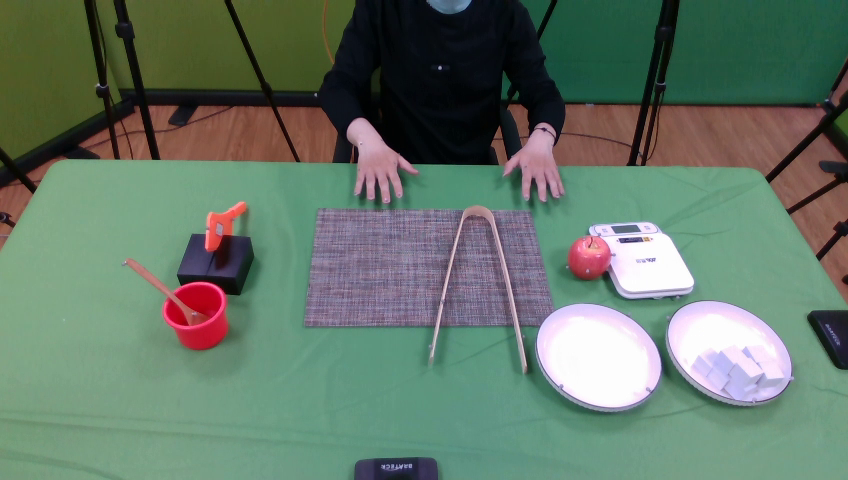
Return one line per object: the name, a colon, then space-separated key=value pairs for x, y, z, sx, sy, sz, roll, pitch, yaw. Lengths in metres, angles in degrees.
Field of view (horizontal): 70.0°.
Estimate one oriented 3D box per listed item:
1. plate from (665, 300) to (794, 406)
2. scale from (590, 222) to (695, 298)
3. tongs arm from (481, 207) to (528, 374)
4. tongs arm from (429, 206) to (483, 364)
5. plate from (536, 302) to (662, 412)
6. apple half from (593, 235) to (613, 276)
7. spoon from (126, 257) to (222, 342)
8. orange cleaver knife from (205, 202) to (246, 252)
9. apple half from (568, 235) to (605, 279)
plate: x=0.513 y=0.194 z=1.034 sx=0.208 sy=0.039 sz=0.206 roll=2 pitch=46 yaw=-2
scale: x=0.424 y=0.031 z=1.189 sx=0.149 sy=0.032 sz=0.199 roll=-3 pitch=46 yaw=-7
tongs arm: x=0.149 y=0.077 z=1.123 sx=0.028 sy=0.028 sz=0.385 roll=-4 pitch=46 yaw=-2
tongs arm: x=0.064 y=0.069 z=1.124 sx=0.051 sy=0.026 sz=0.382 roll=8 pitch=46 yaw=5
plate: x=0.288 y=0.197 z=1.016 sx=0.209 sy=0.038 sz=0.208 roll=2 pitch=46 yaw=-2
apple half: x=0.340 y=0.029 z=1.155 sx=0.033 sy=0.082 sz=0.080 roll=-10 pitch=47 yaw=-8
spoon: x=-0.408 y=0.096 z=0.990 sx=0.194 sy=0.021 sz=0.041 roll=50 pitch=53 yaw=-18
orange cleaver knife: x=-0.374 y=-0.029 z=1.150 sx=0.012 sy=0.077 sz=0.211 roll=4 pitch=13 yaw=0
apple half: x=0.302 y=0.035 z=1.148 sx=0.053 sy=0.075 sz=0.080 roll=-9 pitch=51 yaw=-8
